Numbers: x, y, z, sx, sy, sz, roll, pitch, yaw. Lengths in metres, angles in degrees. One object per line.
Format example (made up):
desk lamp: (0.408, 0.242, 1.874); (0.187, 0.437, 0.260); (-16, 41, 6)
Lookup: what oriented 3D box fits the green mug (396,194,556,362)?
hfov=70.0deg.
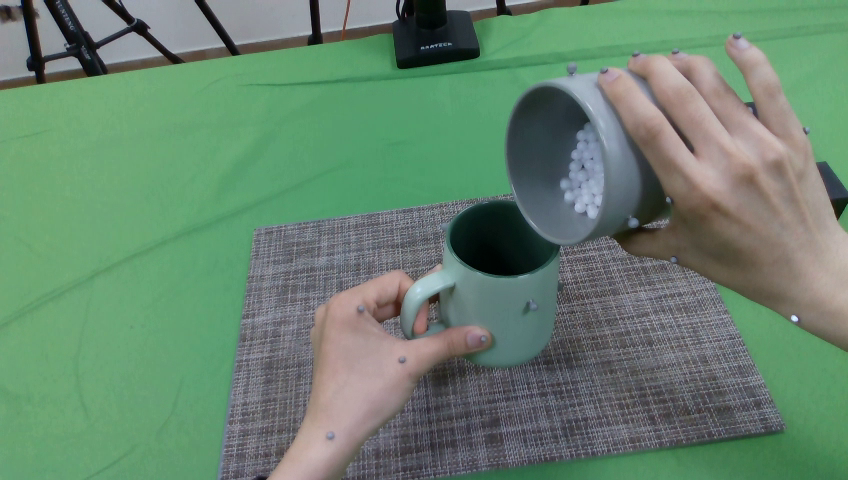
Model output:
green mug: (0.038, 0.036, 0.448); (0.125, 0.106, 0.091); (-22, 50, -19)

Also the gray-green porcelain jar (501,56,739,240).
gray-green porcelain jar: (0.132, -0.065, 0.406); (0.127, 0.106, 0.104); (-15, 48, -24)
